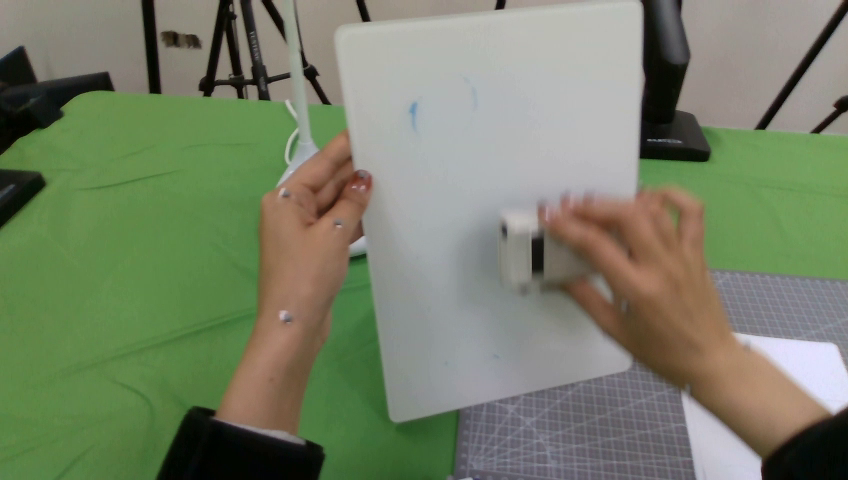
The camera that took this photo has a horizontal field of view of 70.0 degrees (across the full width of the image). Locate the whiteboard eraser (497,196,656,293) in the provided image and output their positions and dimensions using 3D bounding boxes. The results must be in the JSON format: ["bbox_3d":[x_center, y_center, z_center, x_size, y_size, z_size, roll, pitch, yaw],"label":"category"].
[{"bbox_3d":[0.106,0.002,0.429,0.113,0.056,0.041,-8,22,-14],"label":"whiteboard eraser"}]

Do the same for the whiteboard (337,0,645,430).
[{"bbox_3d":[0.048,-0.030,0.513,0.218,0.307,0.142,-9,21,-11],"label":"whiteboard"}]

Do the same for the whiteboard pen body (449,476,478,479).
[{"bbox_3d":[-0.028,0.185,0.425,0.141,0.017,0.017,-6,40,-10],"label":"whiteboard pen body"}]

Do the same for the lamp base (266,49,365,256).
[{"bbox_3d":[-0.106,-0.101,0.650,0.161,0.182,0.177,-29,45,-31],"label":"lamp base"}]
